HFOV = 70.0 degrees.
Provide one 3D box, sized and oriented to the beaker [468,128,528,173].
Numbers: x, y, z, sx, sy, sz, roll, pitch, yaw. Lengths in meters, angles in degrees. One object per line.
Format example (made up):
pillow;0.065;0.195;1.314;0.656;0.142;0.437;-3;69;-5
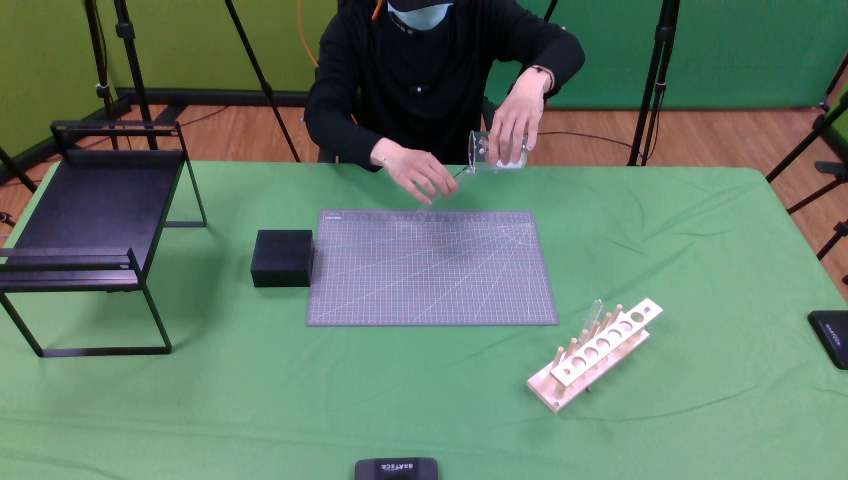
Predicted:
beaker;0.136;-0.164;1.116;0.100;0.084;0.073;-1;19;-3

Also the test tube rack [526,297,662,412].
test tube rack;0.284;0.176;1.007;0.242;0.085;0.066;-29;54;-27

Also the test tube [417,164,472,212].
test tube;0.038;-0.098;1.175;0.017;0.150;0.017;32;38;-28

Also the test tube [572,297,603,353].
test tube;0.263;0.141;0.977;0.017;0.151;0.017;2;47;-2
